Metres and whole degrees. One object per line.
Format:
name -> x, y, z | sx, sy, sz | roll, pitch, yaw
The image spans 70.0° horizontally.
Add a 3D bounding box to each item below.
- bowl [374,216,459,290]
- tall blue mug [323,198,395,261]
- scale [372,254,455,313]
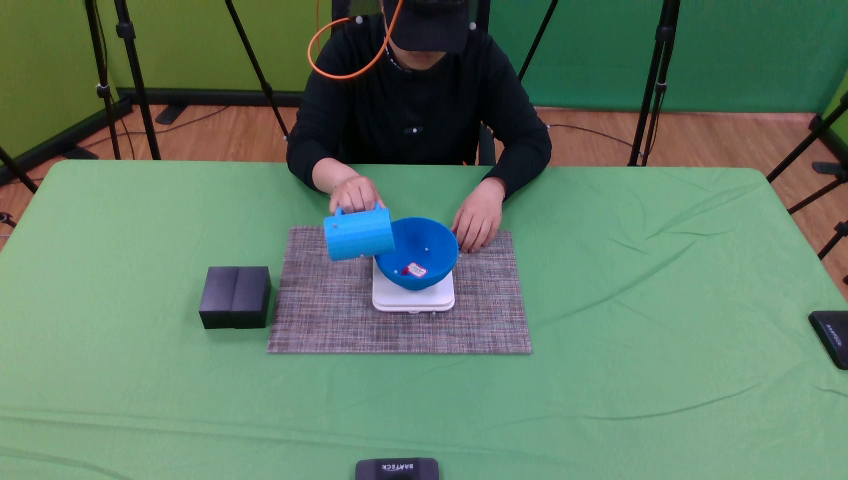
bowl -> -0.015, 0.036, 1.075 | 0.151, 0.077, 0.150 | 1, 46, -1
tall blue mug -> -0.110, -0.025, 1.016 | 0.108, 0.078, 0.107 | -9, 81, -1
scale -> -0.022, 0.051, 1.134 | 0.149, 0.032, 0.199 | 1, 46, -4
